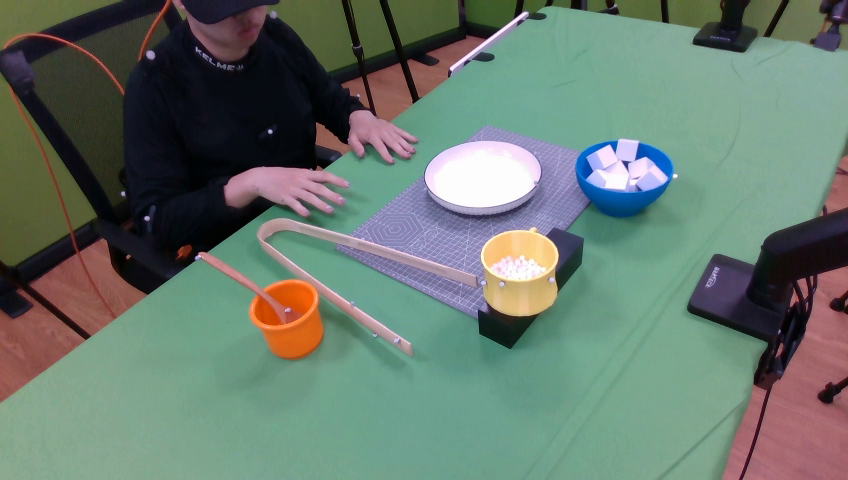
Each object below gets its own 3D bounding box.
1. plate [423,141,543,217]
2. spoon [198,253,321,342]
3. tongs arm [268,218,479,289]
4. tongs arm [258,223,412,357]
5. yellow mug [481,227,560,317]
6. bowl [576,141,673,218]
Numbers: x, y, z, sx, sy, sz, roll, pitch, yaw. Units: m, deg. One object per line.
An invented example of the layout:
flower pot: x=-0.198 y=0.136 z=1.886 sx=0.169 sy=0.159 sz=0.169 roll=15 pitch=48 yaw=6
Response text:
plate: x=0.103 y=-0.103 z=1.059 sx=0.207 sy=0.039 sz=0.206 roll=-4 pitch=40 yaw=4
spoon: x=-0.220 y=0.075 z=0.814 sx=0.021 sy=0.194 sz=0.041 roll=-37 pitch=18 yaw=39
tongs arm: x=-0.089 y=0.018 z=0.952 sx=0.385 sy=0.028 sz=0.028 roll=15 pitch=50 yaw=26
tongs arm: x=-0.141 y=0.063 z=0.905 sx=0.381 sy=0.026 sz=0.051 roll=27 pitch=52 yaw=35
yellow mug: x=0.132 y=0.032 z=0.801 sx=0.099 sy=0.064 sz=0.131 roll=11 pitch=43 yaw=20
bowl: x=0.321 y=-0.089 z=0.984 sx=0.151 sy=0.077 sz=0.150 roll=-4 pitch=40 yaw=4
